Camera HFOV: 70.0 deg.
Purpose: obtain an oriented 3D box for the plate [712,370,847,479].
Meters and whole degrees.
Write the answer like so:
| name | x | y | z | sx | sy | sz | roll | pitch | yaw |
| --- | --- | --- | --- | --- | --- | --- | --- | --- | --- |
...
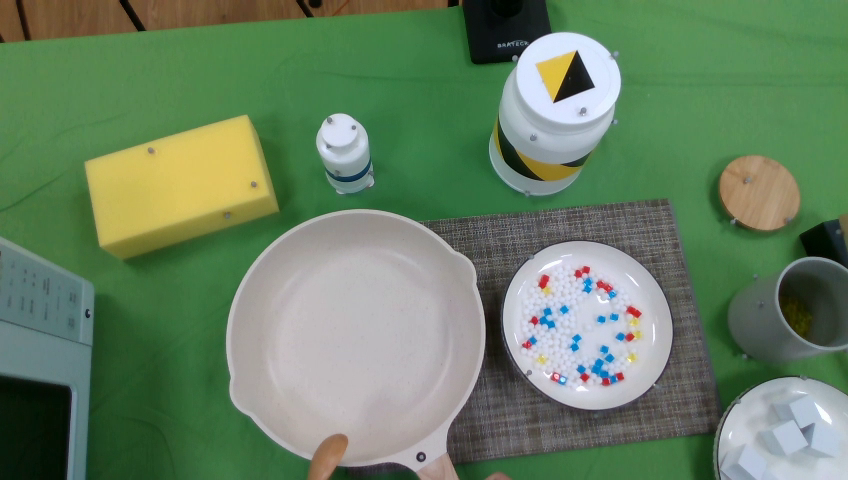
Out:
| name | x | y | z | sx | sy | sz | roll | pitch | yaw |
| --- | --- | --- | --- | --- | --- | --- | --- | --- | --- |
| plate | 0.436 | 0.258 | 0.707 | 0.208 | 0.039 | 0.206 | 1 | 73 | -1 |

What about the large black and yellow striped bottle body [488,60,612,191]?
| name | x | y | z | sx | sy | sz | roll | pitch | yaw |
| --- | --- | --- | --- | --- | --- | --- | --- | --- | --- |
| large black and yellow striped bottle body | 0.152 | -0.152 | 0.744 | 0.131 | 0.185 | 0.130 | 0 | 73 | -1 |

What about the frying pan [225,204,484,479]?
| name | x | y | z | sx | sy | sz | roll | pitch | yaw |
| --- | --- | --- | --- | --- | --- | --- | --- | --- | --- |
| frying pan | -0.027 | 0.185 | 0.675 | 0.307 | 0.103 | 0.484 | -28 | 68 | -9 |

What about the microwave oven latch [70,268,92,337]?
| name | x | y | z | sx | sy | sz | roll | pitch | yaw |
| --- | --- | --- | --- | --- | --- | --- | --- | --- | --- |
| microwave oven latch | -0.411 | 0.074 | 0.714 | 0.030 | 0.029 | 0.078 | -4 | 74 | -3 |

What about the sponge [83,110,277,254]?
| name | x | y | z | sx | sy | sz | roll | pitch | yaw |
| --- | --- | --- | --- | --- | --- | --- | --- | --- | --- |
| sponge | -0.305 | -0.073 | 0.769 | 0.207 | 0.061 | 0.117 | -19 | 75 | -8 |

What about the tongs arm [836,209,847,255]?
| name | x | y | z | sx | sy | sz | roll | pitch | yaw |
| --- | --- | --- | --- | --- | --- | --- | --- | --- | --- |
| tongs arm | 0.565 | 0.146 | 0.716 | 0.051 | 0.026 | 0.383 | -10 | 84 | -7 |

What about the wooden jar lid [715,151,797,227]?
| name | x | y | z | sx | sy | sz | roll | pitch | yaw |
| --- | --- | --- | --- | --- | --- | --- | --- | --- | --- |
| wooden jar lid | 0.442 | -0.067 | 0.813 | 0.108 | 0.021 | 0.108 | 0 | 75 | -1 |

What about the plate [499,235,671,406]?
| name | x | y | z | sx | sy | sz | roll | pitch | yaw |
| --- | --- | --- | --- | --- | --- | --- | --- | --- | --- |
| plate | 0.194 | 0.097 | 0.743 | 0.209 | 0.038 | 0.208 | 0 | 74 | -1 |

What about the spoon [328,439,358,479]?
| name | x | y | z | sx | sy | sz | roll | pitch | yaw |
| --- | --- | --- | --- | --- | --- | --- | --- | --- | --- |
| spoon | -0.131 | 0.276 | 0.597 | 0.193 | 0.041 | 0.021 | -43 | 91 | -14 |

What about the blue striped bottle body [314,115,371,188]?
| name | x | y | z | sx | sy | sz | roll | pitch | yaw |
| --- | --- | --- | --- | --- | --- | --- | --- | --- | --- |
| blue striped bottle body | -0.101 | -0.115 | 0.757 | 0.063 | 0.121 | 0.062 | 1 | 73 | -1 |

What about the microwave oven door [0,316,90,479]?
| name | x | y | z | sx | sy | sz | roll | pitch | yaw |
| --- | --- | --- | --- | --- | --- | --- | --- | --- | --- |
| microwave oven door | -0.390 | 0.252 | 0.556 | 0.039 | 0.245 | 0.353 | -5 | 73 | -3 |

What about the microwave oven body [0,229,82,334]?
| name | x | y | z | sx | sy | sz | roll | pitch | yaw |
| --- | --- | --- | --- | --- | --- | --- | --- | --- | --- |
| microwave oven body | -0.539 | 0.226 | 0.564 | 0.326 | 0.261 | 0.439 | -5 | 74 | -4 |

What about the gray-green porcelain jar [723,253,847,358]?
| name | x | y | z | sx | sy | sz | roll | pitch | yaw |
| --- | --- | --- | --- | --- | --- | --- | --- | --- | --- |
| gray-green porcelain jar | 0.426 | 0.082 | 0.712 | 0.106 | 0.127 | 0.105 | 1 | 73 | -1 |

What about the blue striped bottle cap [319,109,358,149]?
| name | x | y | z | sx | sy | sz | roll | pitch | yaw |
| --- | --- | --- | --- | --- | --- | --- | --- | --- | --- |
| blue striped bottle cap | -0.100 | -0.130 | 0.707 | 0.044 | 0.021 | 0.044 | 0 | 71 | 0 |

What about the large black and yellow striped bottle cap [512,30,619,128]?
| name | x | y | z | sx | sy | sz | roll | pitch | yaw |
| --- | --- | --- | --- | --- | --- | --- | --- | --- | --- |
| large black and yellow striped bottle cap | 0.154 | -0.177 | 0.661 | 0.115 | 0.019 | 0.114 | 0 | 72 | -1 |
